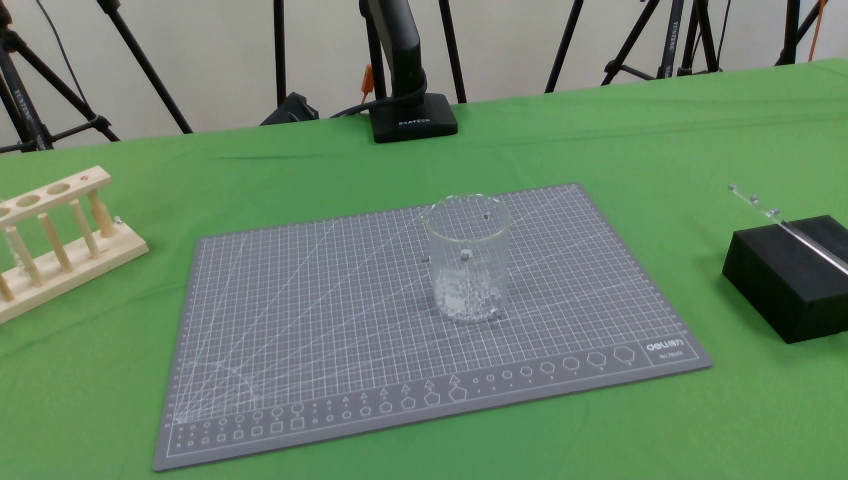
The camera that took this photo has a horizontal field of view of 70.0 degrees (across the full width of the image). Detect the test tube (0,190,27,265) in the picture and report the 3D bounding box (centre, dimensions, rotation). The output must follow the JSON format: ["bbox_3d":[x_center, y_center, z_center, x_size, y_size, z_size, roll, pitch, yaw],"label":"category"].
[{"bbox_3d":[-0.416,-0.041,0.586,0.017,0.151,0.017,-4,30,3],"label":"test tube"}]

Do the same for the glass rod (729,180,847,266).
[{"bbox_3d":[0.345,-0.005,0.542,0.008,0.008,0.197,-15,39,-14],"label":"glass rod"}]

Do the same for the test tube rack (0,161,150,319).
[{"bbox_3d":[-0.413,0.016,0.596,0.242,0.086,0.066,-33,47,-32],"label":"test tube rack"}]

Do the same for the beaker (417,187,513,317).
[{"bbox_3d":[0.037,0.013,0.547,0.084,0.101,0.073,5,38,13],"label":"beaker"}]
